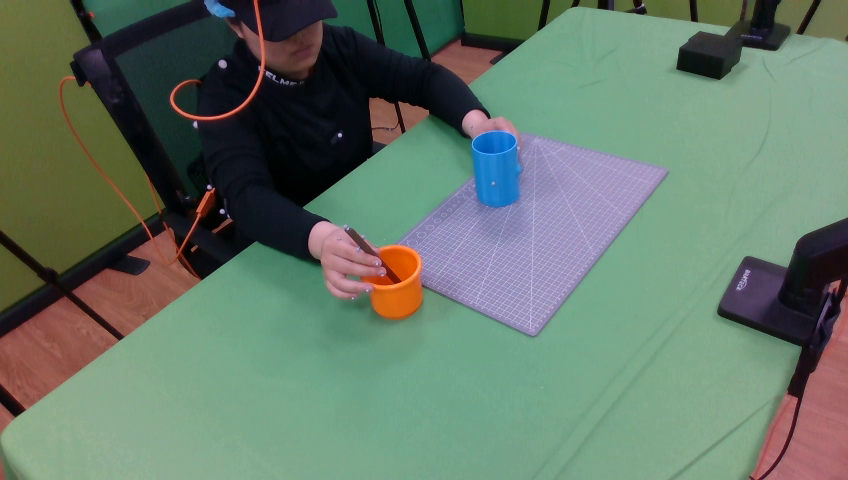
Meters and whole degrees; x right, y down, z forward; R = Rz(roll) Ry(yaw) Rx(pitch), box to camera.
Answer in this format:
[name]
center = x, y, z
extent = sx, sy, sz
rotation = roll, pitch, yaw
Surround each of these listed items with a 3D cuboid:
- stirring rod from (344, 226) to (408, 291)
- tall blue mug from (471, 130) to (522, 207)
[stirring rod]
center = -0.063, 0.029, 0.836
extent = 0.014, 0.177, 0.006
rotation = -1, 59, 26
[tall blue mug]
center = 0.121, -0.131, 1.044
extent = 0.078, 0.108, 0.106
rotation = -14, 40, -3
